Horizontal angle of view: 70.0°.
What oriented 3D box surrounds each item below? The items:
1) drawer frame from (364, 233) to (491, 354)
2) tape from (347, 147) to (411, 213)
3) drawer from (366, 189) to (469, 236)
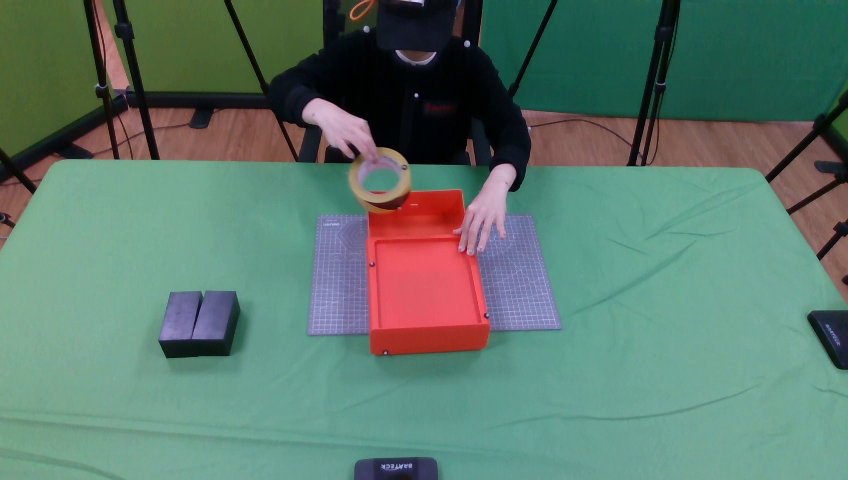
[{"bbox_3d":[0.000,0.088,1.066,0.202,0.083,0.212,-2,47,-7],"label":"drawer frame"},{"bbox_3d":[-0.081,-0.108,1.102,0.117,0.053,0.116,-1,71,2],"label":"tape"},{"bbox_3d":[-0.012,-0.003,1.157,0.195,0.073,0.210,-1,47,-6],"label":"drawer"}]
